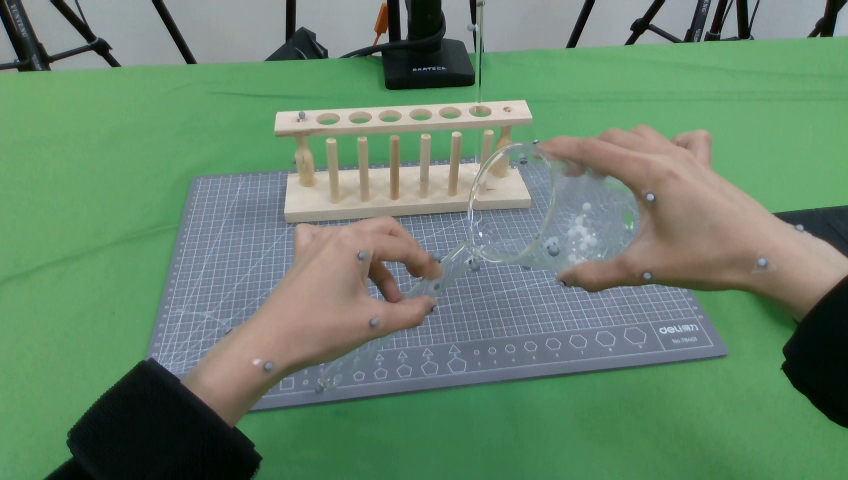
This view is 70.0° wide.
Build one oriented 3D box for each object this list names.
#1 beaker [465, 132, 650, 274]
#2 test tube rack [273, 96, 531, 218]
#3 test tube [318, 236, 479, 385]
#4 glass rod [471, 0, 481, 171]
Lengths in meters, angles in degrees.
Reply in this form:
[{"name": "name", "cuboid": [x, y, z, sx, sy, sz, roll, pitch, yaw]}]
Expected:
[{"name": "beaker", "cuboid": [0.086, -0.016, 0.386, 0.101, 0.084, 0.073, 10, 43, -34]}, {"name": "test tube rack", "cuboid": [-0.019, -0.082, 0.593, 0.243, 0.086, 0.066, -4, 43, -5]}, {"name": "test tube", "cuboid": [-0.021, 0.050, 0.406, 0.017, 0.150, 0.017, 40, 20, -17]}, {"name": "glass rod", "cuboid": [0.049, -0.155, 0.577, 0.008, 0.201, 0.008, -1, 36, 1]}]
